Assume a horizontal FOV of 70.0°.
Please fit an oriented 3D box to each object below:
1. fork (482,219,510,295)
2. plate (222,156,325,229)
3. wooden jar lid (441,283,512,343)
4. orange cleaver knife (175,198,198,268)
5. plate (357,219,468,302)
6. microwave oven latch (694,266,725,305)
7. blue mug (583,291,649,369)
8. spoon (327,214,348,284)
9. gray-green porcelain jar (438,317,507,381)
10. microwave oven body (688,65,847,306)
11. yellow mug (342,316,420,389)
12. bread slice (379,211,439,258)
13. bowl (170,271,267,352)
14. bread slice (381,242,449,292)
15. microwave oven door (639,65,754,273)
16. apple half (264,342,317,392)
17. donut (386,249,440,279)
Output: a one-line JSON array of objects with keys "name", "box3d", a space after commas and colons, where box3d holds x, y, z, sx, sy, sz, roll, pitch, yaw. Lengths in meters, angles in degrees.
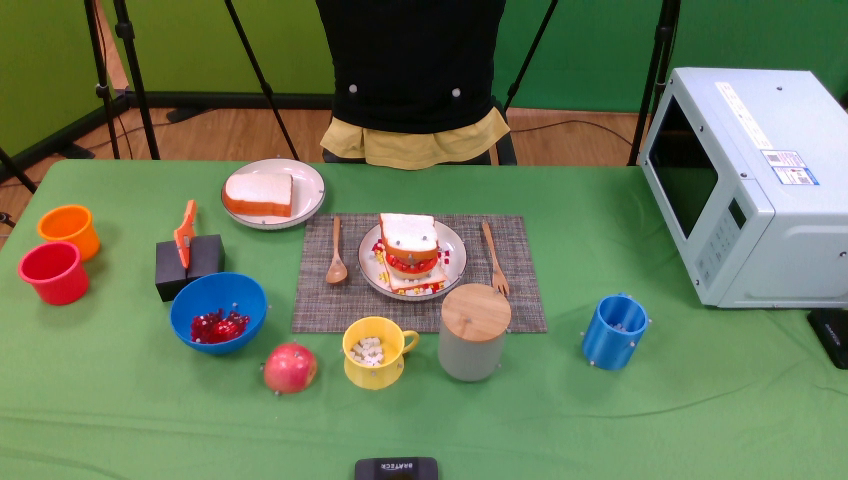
[{"name": "fork", "box3d": [0.136, 0.029, 1.172, 0.028, 0.019, 0.206, -10, 48, 2]}, {"name": "plate", "box3d": [-0.308, -0.095, 1.251, 0.209, 0.038, 0.208, 2, 47, -2]}, {"name": "wooden jar lid", "box3d": [0.080, 0.114, 0.931, 0.108, 0.021, 0.107, 1, 49, 0]}, {"name": "orange cleaver knife", "box3d": [-0.438, -0.017, 1.138, 0.012, 0.077, 0.210, -13, 27, -7]}, {"name": "plate", "box3d": [-0.021, 0.037, 1.141, 0.208, 0.039, 0.206, 2, 46, -2]}, {"name": "microwave oven latch", "box3d": [0.523, 0.082, 1.115, 0.030, 0.029, 0.078, 3, 46, 0]}, {"name": "blue mug", "box3d": [0.324, 0.142, 1.023, 0.082, 0.106, 0.116, 15, 47, 11]}, {"name": "spoon", "box3d": [-0.167, 0.013, 1.164, 0.041, 0.022, 0.192, -19, 47, 11]}, {"name": "gray-green porcelain jar", "box3d": [0.076, 0.158, 0.977, 0.106, 0.127, 0.105, 2, 47, -2]}, {"name": "microwave oven body", "box3d": [0.669, -0.111, 1.176, 0.326, 0.261, 0.439, 0, 46, -3]}, {"name": "yellow mug", "box3d": [-0.067, 0.177, 0.990, 0.131, 0.064, 0.099, -16, 50, -19]}, {"name": "bread slice", "box3d": [-0.023, -0.012, 1.064, 0.105, 0.019, 0.130, 3, 33, -10]}, {"name": "bowl", "box3d": [-0.333, 0.132, 1.006, 0.151, 0.077, 0.150, 2, 46, -2]}, {"name": "bread slice", "box3d": [-0.026, 0.039, 1.139, 0.107, 0.018, 0.133, -12, 47, -16]}, {"name": "microwave oven door", "box3d": [0.522, -0.147, 1.193, 0.039, 0.245, 0.353, 0, 47, -3]}, {"name": "apple half", "box3d": [-0.214, 0.198, 0.970, 0.074, 0.053, 0.080, 19, 48, 11]}, {"name": "donut", "box3d": [-0.021, 0.029, 1.110, 0.099, 0.048, 0.098, 2, 46, -2]}]
